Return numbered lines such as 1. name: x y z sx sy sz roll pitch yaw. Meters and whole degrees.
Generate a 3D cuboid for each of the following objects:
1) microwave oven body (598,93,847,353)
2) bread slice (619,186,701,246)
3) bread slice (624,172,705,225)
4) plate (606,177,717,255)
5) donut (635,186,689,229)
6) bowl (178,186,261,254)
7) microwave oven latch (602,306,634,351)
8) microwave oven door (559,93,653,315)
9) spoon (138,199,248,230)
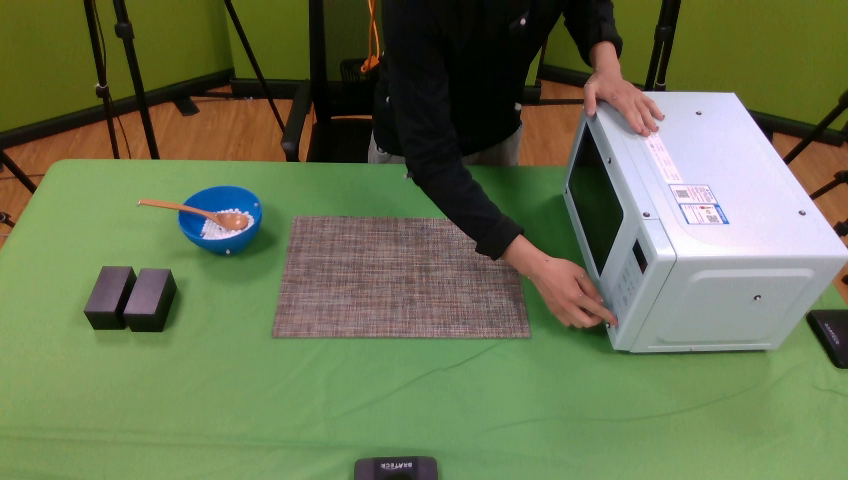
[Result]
1. microwave oven body: 0.476 -0.042 1.109 0.326 0.261 0.438 -1 45 -4
2. bread slice: 0.462 -0.043 1.172 0.133 0.018 0.107 31 60 25
3. bread slice: 0.460 -0.078 1.139 0.131 0.019 0.105 35 51 30
4. plate: 0.456 -0.043 1.181 0.208 0.039 0.206 1 46 -1
5. donut: 0.454 -0.062 1.159 0.099 0.048 0.098 -1 48 2
6. bowl: -0.383 -0.026 1.158 0.151 0.077 0.150 2 46 -2
7. microwave oven latch: 0.332 0.153 1.044 0.030 0.029 0.078 0 45 -4
8. microwave oven door: 0.327 -0.074 1.123 0.039 0.245 0.353 -1 46 -5
9. spoon: -0.431 -0.053 1.135 0.194 0.022 0.041 15 49 -20
